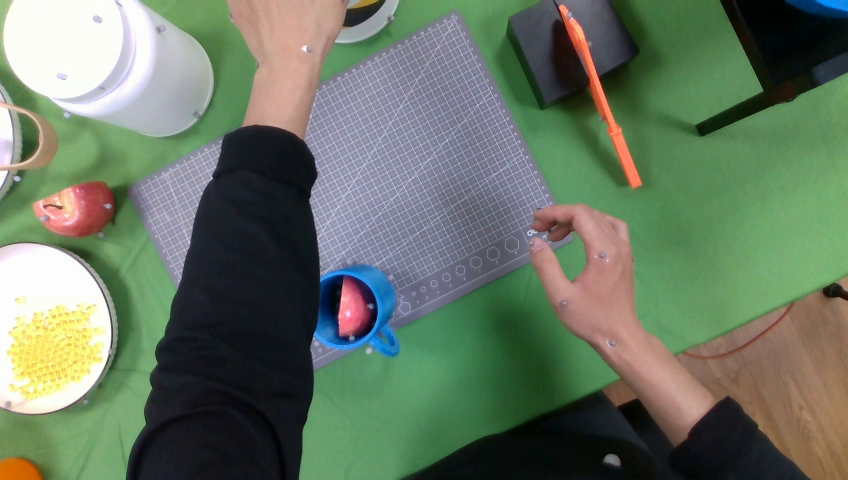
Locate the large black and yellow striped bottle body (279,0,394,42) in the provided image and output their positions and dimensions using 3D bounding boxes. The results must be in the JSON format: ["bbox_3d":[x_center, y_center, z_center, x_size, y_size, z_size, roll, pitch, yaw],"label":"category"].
[{"bbox_3d":[-0.103,-0.292,0.619,0.131,0.184,0.131,0,92,4],"label":"large black and yellow striped bottle body"}]

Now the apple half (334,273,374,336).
[{"bbox_3d":[-0.071,0.070,0.663,0.032,0.081,0.081,5,92,12],"label":"apple half"}]

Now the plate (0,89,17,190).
[{"bbox_3d":[-0.586,-0.123,0.730,0.207,0.039,0.207,0,93,4],"label":"plate"}]

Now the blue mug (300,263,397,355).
[{"bbox_3d":[-0.071,0.081,0.669,0.082,0.106,0.116,-42,89,4],"label":"blue mug"}]

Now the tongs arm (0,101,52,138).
[{"bbox_3d":[-0.609,-0.181,0.699,0.387,0.028,0.028,16,86,5],"label":"tongs arm"}]

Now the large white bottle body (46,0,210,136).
[{"bbox_3d":[-0.323,-0.187,0.637,0.130,0.184,0.130,0,91,4],"label":"large white bottle body"}]

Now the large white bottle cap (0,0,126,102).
[{"bbox_3d":[-0.331,-0.185,0.552,0.115,0.018,0.115,0,92,4],"label":"large white bottle cap"}]

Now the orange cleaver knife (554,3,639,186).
[{"bbox_3d":[0.187,-0.154,0.657,0.012,0.076,0.213,-25,117,13],"label":"orange cleaver knife"}]

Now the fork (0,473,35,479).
[{"bbox_3d":[-0.562,0.313,0.690,0.208,0.018,0.028,-10,91,-39],"label":"fork"}]

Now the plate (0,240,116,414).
[{"bbox_3d":[-0.469,0.103,0.731,0.209,0.038,0.209,0,93,4],"label":"plate"}]

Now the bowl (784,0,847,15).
[{"bbox_3d":[0.315,-0.241,0.468,0.151,0.077,0.151,0,92,4],"label":"bowl"}]

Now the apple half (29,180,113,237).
[{"bbox_3d":[-0.402,-0.031,0.704,0.081,0.074,0.053,-23,94,0],"label":"apple half"}]

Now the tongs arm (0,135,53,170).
[{"bbox_3d":[-0.618,-0.097,0.701,0.384,0.026,0.050,2,89,6],"label":"tongs arm"}]
